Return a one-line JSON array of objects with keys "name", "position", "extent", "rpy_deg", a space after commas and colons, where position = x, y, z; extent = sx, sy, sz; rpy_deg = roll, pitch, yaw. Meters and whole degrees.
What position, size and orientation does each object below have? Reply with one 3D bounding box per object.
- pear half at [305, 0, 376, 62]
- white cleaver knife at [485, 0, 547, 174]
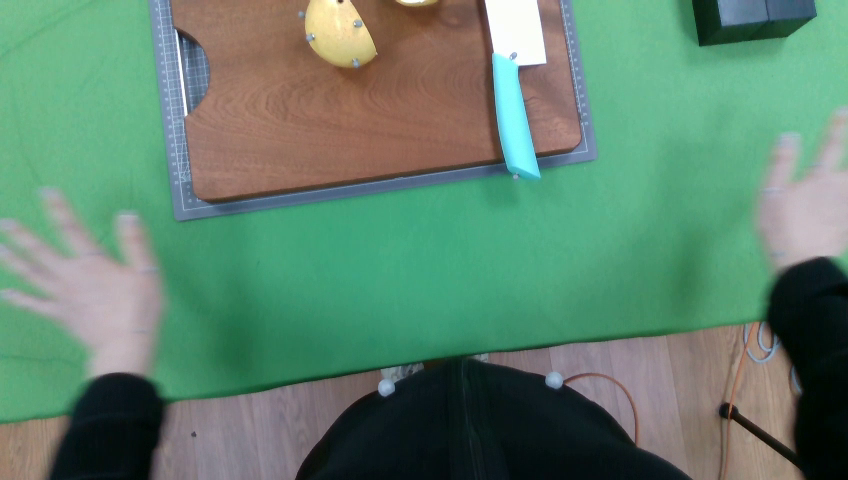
[{"name": "pear half", "position": [-0.085, -0.207, 0.571], "extent": [0.056, 0.110, 0.076], "rpy_deg": [-38, 83, -4]}, {"name": "white cleaver knife", "position": [0.095, -0.208, 0.619], "extent": [0.066, 0.021, 0.286], "rpy_deg": [-7, 87, -12]}]
